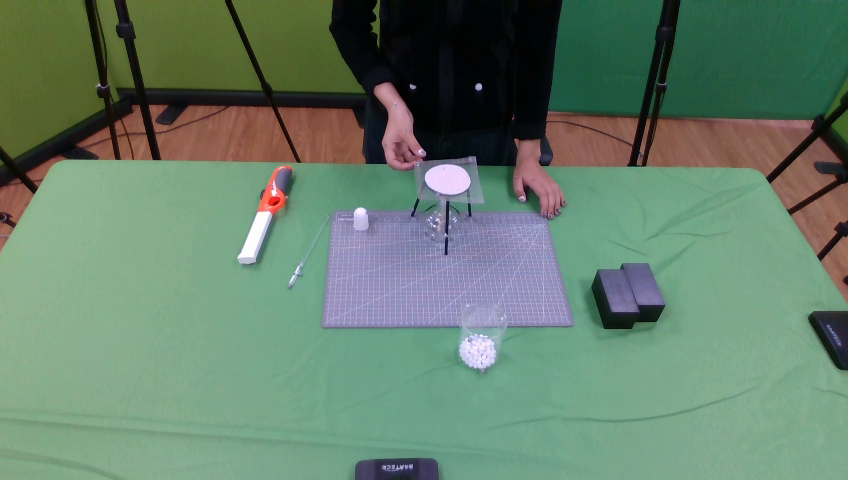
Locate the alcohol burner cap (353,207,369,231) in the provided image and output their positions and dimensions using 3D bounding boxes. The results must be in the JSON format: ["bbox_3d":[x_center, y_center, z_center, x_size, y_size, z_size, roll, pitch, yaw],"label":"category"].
[{"bbox_3d":[-0.127,-0.046,1.215,0.034,0.048,0.033,3,48,-3],"label":"alcohol burner cap"}]

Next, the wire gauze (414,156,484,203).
[{"bbox_3d":[0.046,-0.114,1.136,0.125,0.011,0.120,-1,48,-4],"label":"wire gauze"}]

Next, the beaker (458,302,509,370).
[{"bbox_3d":[0.092,0.159,0.999,0.083,0.101,0.074,35,53,28],"label":"beaker"}]

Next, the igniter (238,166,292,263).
[{"bbox_3d":[-0.318,-0.060,1.229,0.057,0.025,0.275,-2,45,10],"label":"igniter"}]

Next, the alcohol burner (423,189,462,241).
[{"bbox_3d":[0.036,-0.055,1.187,0.078,0.120,0.077,2,48,-1],"label":"alcohol burner"}]

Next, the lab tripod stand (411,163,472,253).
[{"bbox_3d":[0.042,-0.069,1.186,0.148,0.132,0.147,3,47,-3],"label":"lab tripod stand"}]

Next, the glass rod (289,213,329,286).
[{"bbox_3d":[-0.221,0.014,1.179,0.008,0.008,0.199,12,46,9],"label":"glass rod"}]
